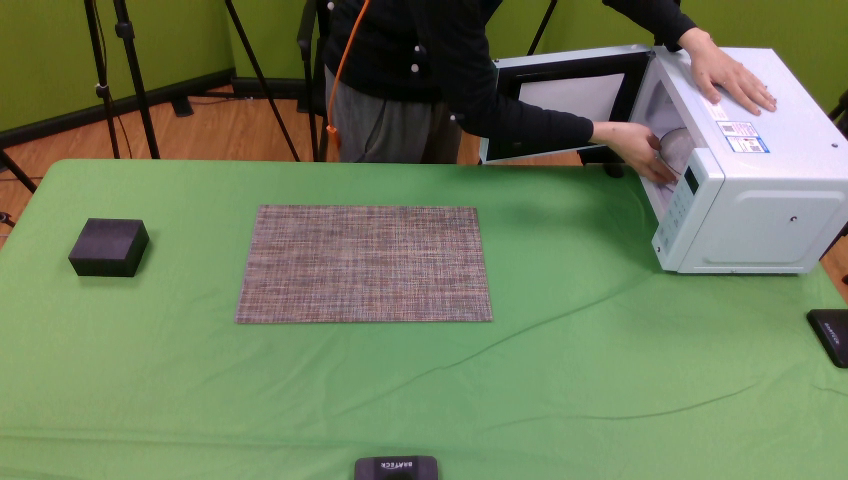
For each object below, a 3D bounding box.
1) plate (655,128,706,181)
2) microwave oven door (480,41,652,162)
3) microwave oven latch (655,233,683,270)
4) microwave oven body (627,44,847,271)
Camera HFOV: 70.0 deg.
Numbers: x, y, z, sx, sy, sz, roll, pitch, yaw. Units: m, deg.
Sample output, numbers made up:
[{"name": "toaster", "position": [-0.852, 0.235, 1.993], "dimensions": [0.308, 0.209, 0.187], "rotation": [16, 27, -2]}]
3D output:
[{"name": "plate", "position": [0.600, -0.167, 1.304], "dimensions": [0.209, 0.038, 0.208], "rotation": [2, 45, -2]}, {"name": "microwave oven door", "position": [0.306, -0.301, 1.328], "dimensions": [0.356, 0.245, 0.039], "rotation": [-10, 48, -13]}, {"name": "microwave oven latch", "position": [0.473, 0.021, 1.176], "dimensions": [0.030, 0.029, 0.078], "rotation": [2, 46, -1]}, {"name": "microwave oven body", "position": [0.619, -0.173, 1.234], "dimensions": [0.326, 0.261, 0.439], "rotation": [0, 46, -3]}]
